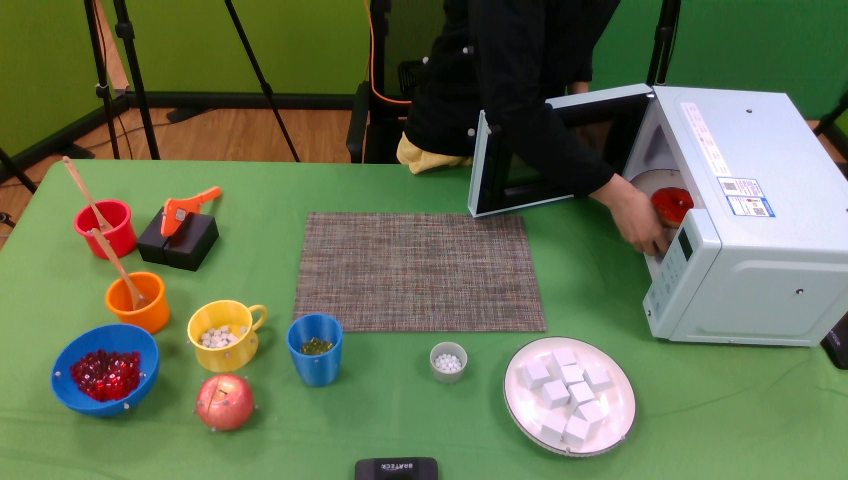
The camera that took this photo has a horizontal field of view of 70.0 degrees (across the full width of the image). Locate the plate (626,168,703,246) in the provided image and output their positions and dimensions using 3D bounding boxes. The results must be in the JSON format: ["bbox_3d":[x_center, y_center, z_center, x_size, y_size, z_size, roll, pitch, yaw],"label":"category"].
[{"bbox_3d":[0.493,-0.056,1.174,0.209,0.038,0.208,3,49,-3],"label":"plate"}]

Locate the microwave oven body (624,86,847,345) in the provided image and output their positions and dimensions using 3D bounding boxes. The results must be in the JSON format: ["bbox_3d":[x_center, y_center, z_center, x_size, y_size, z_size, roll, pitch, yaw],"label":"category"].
[{"bbox_3d":[0.568,-0.053,1.118,0.326,0.261,0.439,2,45,-1],"label":"microwave oven body"}]

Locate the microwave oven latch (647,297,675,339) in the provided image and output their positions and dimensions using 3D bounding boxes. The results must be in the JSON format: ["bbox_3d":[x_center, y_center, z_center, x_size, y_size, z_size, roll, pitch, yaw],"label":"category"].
[{"bbox_3d":[0.413,0.134,1.061,0.030,0.029,0.078,5,45,2],"label":"microwave oven latch"}]

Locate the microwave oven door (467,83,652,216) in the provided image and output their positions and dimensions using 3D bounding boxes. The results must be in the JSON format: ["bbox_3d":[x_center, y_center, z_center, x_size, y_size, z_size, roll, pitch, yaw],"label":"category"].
[{"bbox_3d":[0.267,-0.180,1.214,0.356,0.245,0.039,-13,49,-15],"label":"microwave oven door"}]

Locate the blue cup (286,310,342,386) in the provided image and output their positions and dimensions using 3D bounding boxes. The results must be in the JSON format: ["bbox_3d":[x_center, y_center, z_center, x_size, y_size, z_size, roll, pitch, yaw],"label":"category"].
[{"bbox_3d":[-0.169,0.179,0.958,0.093,0.101,0.092,1,44,-1],"label":"blue cup"}]

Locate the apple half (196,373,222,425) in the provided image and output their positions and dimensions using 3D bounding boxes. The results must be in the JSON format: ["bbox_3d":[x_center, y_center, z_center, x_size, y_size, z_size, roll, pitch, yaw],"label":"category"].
[{"bbox_3d":[-0.322,0.239,0.907,0.033,0.081,0.081,7,46,-1],"label":"apple half"}]

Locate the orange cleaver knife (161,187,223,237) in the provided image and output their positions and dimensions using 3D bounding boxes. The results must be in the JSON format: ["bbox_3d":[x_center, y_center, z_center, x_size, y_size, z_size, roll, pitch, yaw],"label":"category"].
[{"bbox_3d":[-0.448,-0.058,1.180,0.012,0.077,0.211,13,17,6],"label":"orange cleaver knife"}]

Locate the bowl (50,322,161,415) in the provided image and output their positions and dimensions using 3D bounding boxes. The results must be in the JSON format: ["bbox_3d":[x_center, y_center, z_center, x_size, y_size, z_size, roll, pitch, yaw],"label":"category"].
[{"bbox_3d":[-0.472,0.209,0.924,0.151,0.077,0.150,2,46,-2],"label":"bowl"}]

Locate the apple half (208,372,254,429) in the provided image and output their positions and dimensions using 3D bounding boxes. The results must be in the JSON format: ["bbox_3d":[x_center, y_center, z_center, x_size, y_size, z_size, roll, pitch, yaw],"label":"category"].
[{"bbox_3d":[-0.282,0.244,0.908,0.053,0.075,0.080,7,43,-1],"label":"apple half"}]

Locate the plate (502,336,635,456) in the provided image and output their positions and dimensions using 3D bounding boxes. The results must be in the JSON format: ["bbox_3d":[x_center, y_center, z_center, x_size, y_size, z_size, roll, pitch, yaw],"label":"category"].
[{"bbox_3d":[0.225,0.248,0.963,0.208,0.039,0.206,2,46,-2],"label":"plate"}]

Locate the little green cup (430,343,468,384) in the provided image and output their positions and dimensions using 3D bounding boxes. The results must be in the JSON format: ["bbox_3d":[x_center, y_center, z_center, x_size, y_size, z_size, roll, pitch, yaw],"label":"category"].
[{"bbox_3d":[0.039,0.204,0.993,0.061,0.039,0.061,2,46,-2],"label":"little green cup"}]

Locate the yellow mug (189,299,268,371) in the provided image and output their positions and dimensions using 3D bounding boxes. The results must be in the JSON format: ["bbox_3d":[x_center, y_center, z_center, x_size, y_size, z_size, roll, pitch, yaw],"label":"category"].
[{"bbox_3d":[-0.316,0.148,1.002,0.131,0.064,0.099,-33,56,-31],"label":"yellow mug"}]

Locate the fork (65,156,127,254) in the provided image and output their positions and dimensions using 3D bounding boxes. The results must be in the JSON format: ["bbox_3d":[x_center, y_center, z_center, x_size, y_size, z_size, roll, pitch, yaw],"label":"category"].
[{"bbox_3d":[-0.614,-0.064,1.130,0.028,0.018,0.207,-29,97,-17],"label":"fork"}]

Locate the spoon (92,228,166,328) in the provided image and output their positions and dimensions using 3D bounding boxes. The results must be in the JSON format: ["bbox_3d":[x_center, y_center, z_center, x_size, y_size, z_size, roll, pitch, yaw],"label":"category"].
[{"bbox_3d":[-0.495,0.062,1.014,0.041,0.194,0.021,-34,13,-32],"label":"spoon"}]

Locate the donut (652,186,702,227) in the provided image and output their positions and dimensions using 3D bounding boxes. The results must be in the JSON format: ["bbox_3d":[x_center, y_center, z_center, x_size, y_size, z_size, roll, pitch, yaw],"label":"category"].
[{"bbox_3d":[0.489,-0.066,1.167,0.099,0.048,0.098,2,46,-2],"label":"donut"}]
